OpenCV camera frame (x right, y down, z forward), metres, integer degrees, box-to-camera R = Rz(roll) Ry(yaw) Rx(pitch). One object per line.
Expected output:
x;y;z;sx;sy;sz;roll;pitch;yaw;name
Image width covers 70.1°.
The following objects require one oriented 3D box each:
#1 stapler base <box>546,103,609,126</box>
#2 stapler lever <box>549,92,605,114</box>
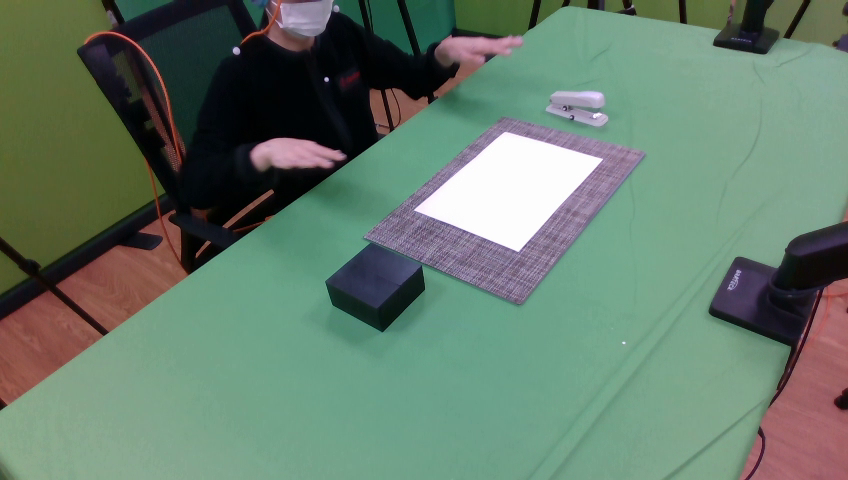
0.313;-0.265;1.235;0.129;0.024;0.041;26;49;35;stapler base
0.309;-0.285;1.220;0.117;0.040;0.027;26;49;35;stapler lever
